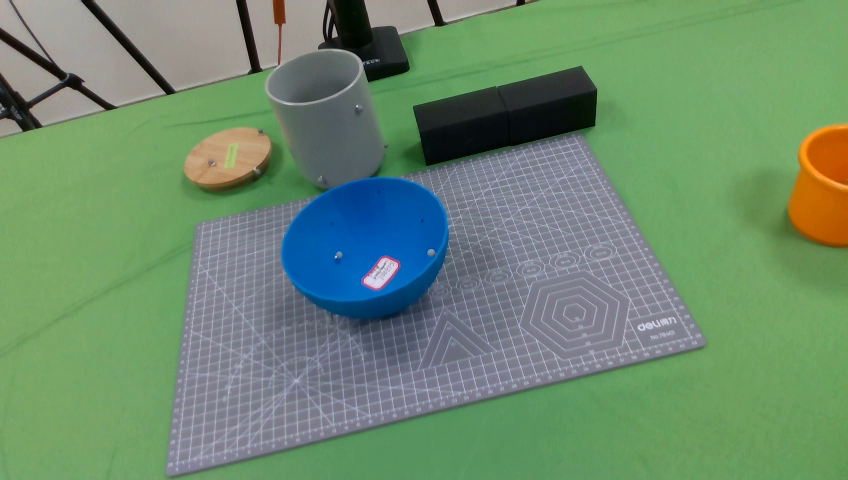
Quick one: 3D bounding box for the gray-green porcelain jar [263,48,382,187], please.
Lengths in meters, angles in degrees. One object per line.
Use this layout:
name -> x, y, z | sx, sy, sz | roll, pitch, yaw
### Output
gray-green porcelain jar -> -0.107, -0.131, 0.675 | 0.106, 0.128, 0.105 | -6, 47, 7

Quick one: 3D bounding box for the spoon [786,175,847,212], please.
spoon -> 0.394, -0.062, 0.491 | 0.022, 0.193, 0.041 | 42, 57, -11

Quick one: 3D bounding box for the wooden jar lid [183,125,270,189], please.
wooden jar lid -> -0.242, -0.102, 0.750 | 0.108, 0.021, 0.107 | -5, 48, 5

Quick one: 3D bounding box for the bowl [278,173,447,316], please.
bowl -> -0.048, 0.017, 0.556 | 0.151, 0.077, 0.150 | -6, 47, 7
